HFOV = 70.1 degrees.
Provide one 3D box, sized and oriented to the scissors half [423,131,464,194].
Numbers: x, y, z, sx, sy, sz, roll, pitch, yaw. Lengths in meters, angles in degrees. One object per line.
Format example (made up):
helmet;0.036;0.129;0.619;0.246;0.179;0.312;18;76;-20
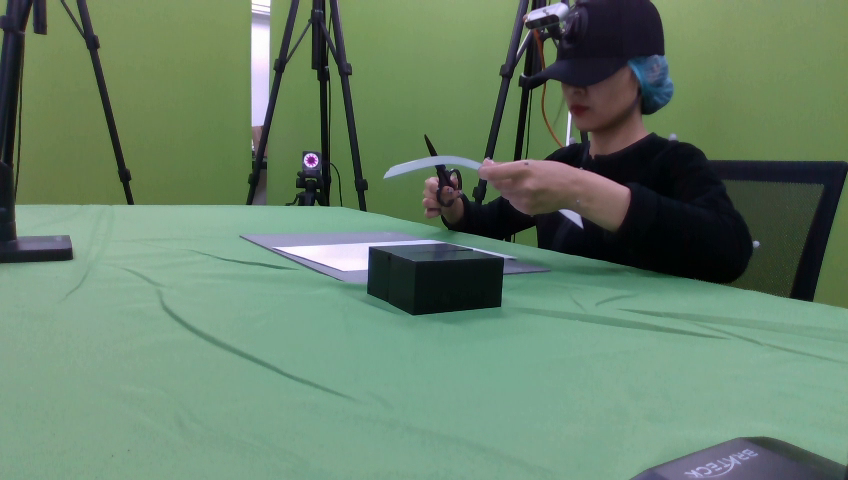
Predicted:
scissors half;0.036;-0.140;1.093;0.013;0.040;0.176;15;-20;35

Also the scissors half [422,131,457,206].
scissors half;0.024;-0.126;1.086;0.012;0.176;0.040;21;57;38
